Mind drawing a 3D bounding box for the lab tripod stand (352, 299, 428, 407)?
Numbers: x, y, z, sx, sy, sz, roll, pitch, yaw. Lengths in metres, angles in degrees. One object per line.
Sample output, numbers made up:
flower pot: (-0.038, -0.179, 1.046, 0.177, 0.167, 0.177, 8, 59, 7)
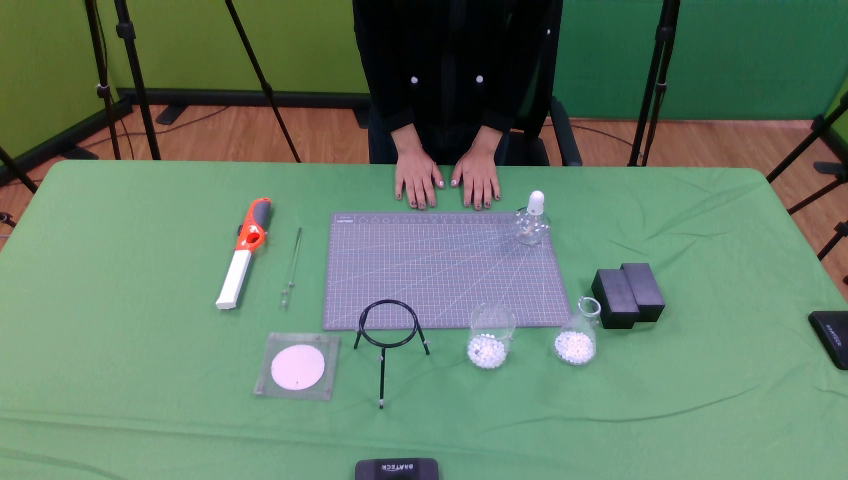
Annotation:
lab tripod stand: (-0.056, 0.166, 0.958, 0.148, 0.132, 0.147, 3, 44, -2)

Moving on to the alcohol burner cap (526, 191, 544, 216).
alcohol burner cap: (0.216, -0.073, 1.170, 0.034, 0.048, 0.033, 0, 42, 1)

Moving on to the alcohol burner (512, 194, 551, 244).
alcohol burner: (0.215, -0.048, 1.196, 0.078, 0.119, 0.077, 4, 46, -4)

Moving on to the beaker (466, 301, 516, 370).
beaker: (0.106, 0.162, 0.998, 0.084, 0.101, 0.073, -31, 55, -29)

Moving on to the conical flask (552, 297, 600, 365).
conical flask: (0.261, 0.147, 1.010, 0.075, 0.122, 0.075, 2, 46, -2)

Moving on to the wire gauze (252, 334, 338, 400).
wire gauze: (-0.209, 0.204, 0.996, 0.125, 0.011, 0.120, 3, 45, 1)

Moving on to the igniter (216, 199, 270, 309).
igniter: (-0.342, 0.016, 1.153, 0.057, 0.025, 0.275, -4, 45, 7)

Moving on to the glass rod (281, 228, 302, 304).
glass rod: (-0.250, 0.045, 1.146, 0.008, 0.008, 0.198, 2, 43, -1)
